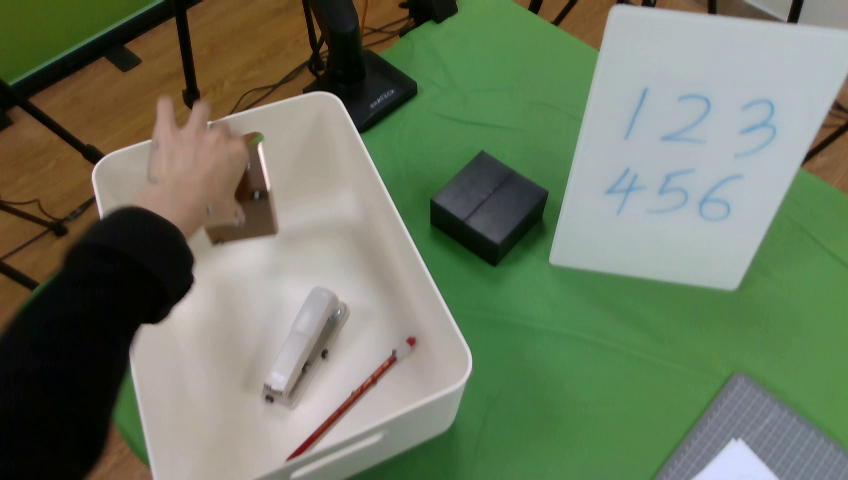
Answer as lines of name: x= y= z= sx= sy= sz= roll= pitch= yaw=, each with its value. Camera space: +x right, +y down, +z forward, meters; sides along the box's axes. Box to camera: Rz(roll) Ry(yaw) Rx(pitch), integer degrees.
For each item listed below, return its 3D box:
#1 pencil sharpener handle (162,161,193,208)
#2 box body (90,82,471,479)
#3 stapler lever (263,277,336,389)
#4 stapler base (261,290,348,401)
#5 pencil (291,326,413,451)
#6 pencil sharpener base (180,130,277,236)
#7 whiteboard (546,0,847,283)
pencil sharpener handle: x=-0.239 y=-0.048 z=0.576 sx=0.031 sy=0.068 sz=0.036 roll=-11 pitch=73 yaw=-14
box body: x=-0.142 y=0.048 z=0.606 sx=0.254 sy=0.162 sz=0.360 roll=-22 pitch=61 yaw=-12
stapler lever: x=-0.128 y=0.092 z=0.623 sx=0.026 sy=0.040 sz=0.117 roll=20 pitch=64 yaw=14
stapler base: x=-0.127 y=0.104 z=0.646 sx=0.041 sy=0.024 sz=0.130 roll=20 pitch=63 yaw=14
pencil: x=-0.078 y=0.158 z=0.622 sx=0.012 sy=0.012 sz=0.193 roll=36 pitch=66 yaw=20
pencil sharpener base: x=-0.192 y=-0.053 z=0.600 sx=0.077 sy=0.107 sz=0.061 roll=-11 pitch=72 yaw=-14
whiteboard: x=0.270 y=-0.125 z=0.663 sx=0.217 sy=0.308 sz=0.142 roll=9 pitch=40 yaw=6
